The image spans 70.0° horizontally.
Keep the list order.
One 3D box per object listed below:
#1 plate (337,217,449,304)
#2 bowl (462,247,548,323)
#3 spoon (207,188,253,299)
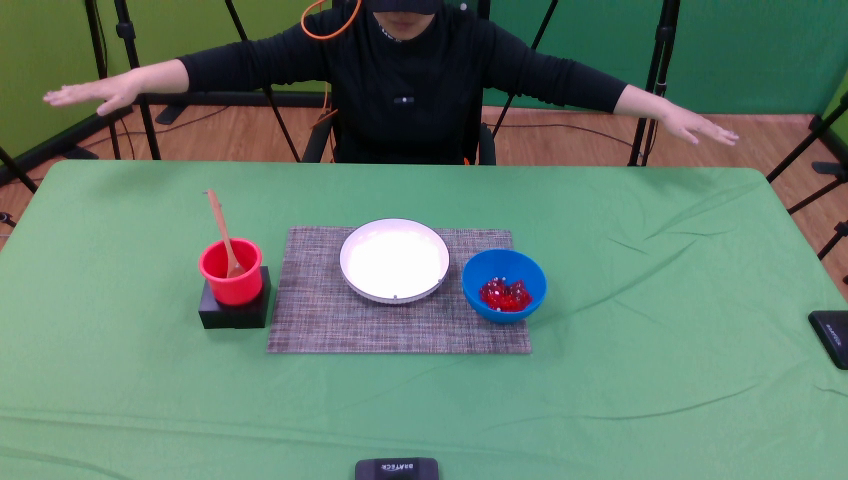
[{"bbox_3d":[-0.058,0.042,1.136,0.208,0.039,0.206,2,46,-2],"label":"plate"},{"bbox_3d":[0.138,0.093,1.072,0.151,0.077,0.150,2,46,-2],"label":"bowl"},{"bbox_3d":[-0.328,0.005,1.013,0.042,0.021,0.193,-16,94,-18],"label":"spoon"}]
